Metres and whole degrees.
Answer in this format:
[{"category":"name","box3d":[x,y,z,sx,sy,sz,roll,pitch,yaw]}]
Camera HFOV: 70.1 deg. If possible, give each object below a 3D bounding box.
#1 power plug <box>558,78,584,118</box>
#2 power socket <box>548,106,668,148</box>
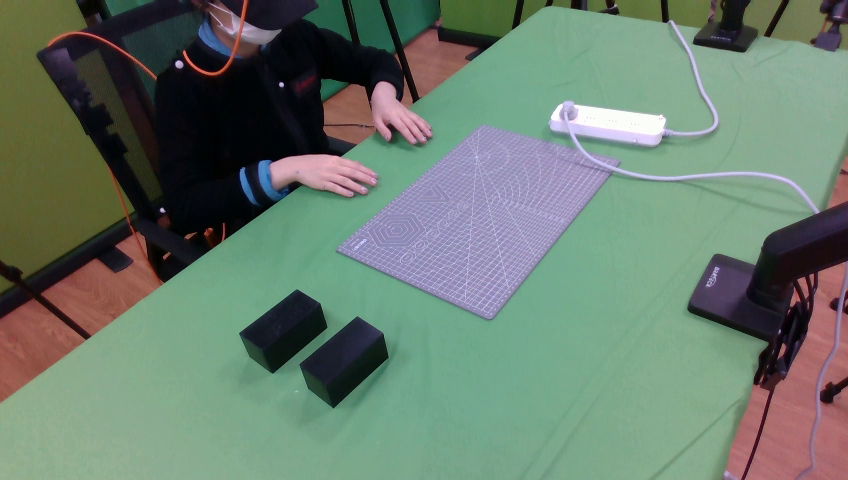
[{"category":"power plug","box3d":[0.279,-0.268,1.157,0.035,0.073,0.052,-42,37,-20]},{"category":"power socket","box3d":[0.352,-0.223,1.170,0.225,0.033,0.072,15,46,24]}]
